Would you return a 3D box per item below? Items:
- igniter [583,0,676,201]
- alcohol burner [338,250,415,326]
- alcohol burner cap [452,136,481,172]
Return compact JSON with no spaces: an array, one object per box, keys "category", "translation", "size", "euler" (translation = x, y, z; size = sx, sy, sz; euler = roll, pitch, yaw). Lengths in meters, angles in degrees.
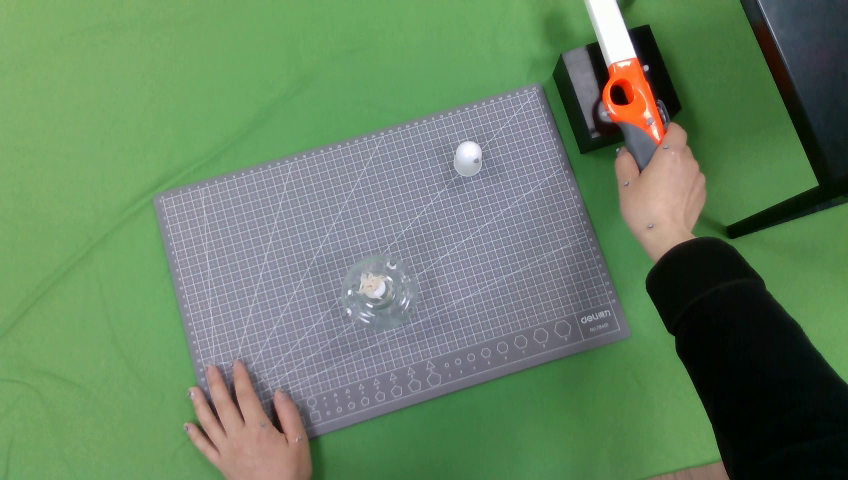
[{"category":"igniter","translation":[0.202,-0.173,0.619],"size":[0.057,0.025,0.275],"euler":[-14,80,-2]},{"category":"alcohol burner","translation":[-0.048,0.046,0.594],"size":[0.078,0.119,0.077],"euler":[0,82,1]},{"category":"alcohol burner cap","translation":[0.047,-0.096,0.652],"size":[0.034,0.048,0.033],"euler":[0,81,1]}]
